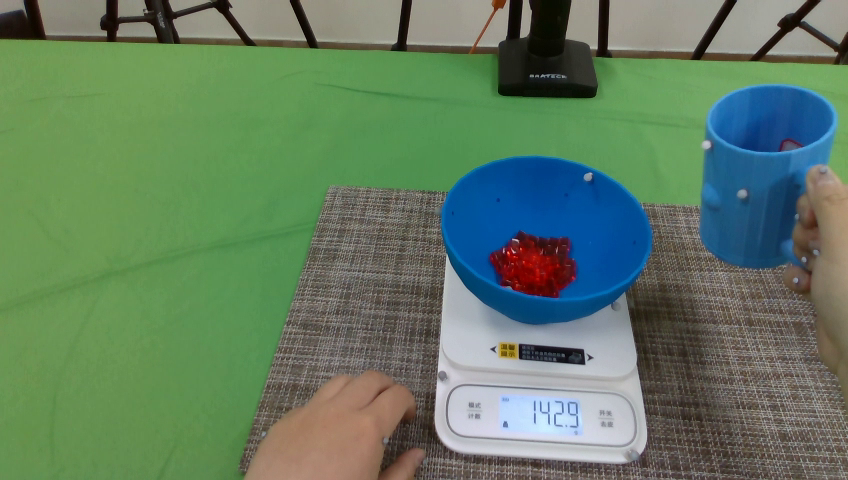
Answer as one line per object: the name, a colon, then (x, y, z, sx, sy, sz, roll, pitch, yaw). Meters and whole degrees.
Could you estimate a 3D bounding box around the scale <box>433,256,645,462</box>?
scale: (0.087, 0.071, 0.477, 0.148, 0.032, 0.199, 3, 47, 4)

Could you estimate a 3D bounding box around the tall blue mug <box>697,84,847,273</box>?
tall blue mug: (0.248, -0.036, 0.420, 0.078, 0.109, 0.106, -39, 47, -19)

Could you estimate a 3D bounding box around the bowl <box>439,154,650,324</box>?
bowl: (0.085, 0.011, 0.460, 0.151, 0.077, 0.150, 0, 46, 0)
